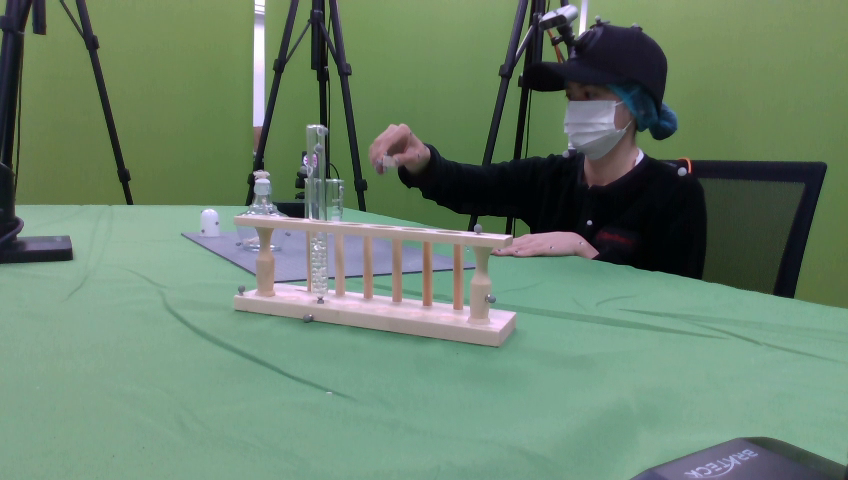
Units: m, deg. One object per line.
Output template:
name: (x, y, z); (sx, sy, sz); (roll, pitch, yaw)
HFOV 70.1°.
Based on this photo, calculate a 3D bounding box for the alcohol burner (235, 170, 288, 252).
alcohol burner: (-0.236, -0.042, 0.882); (0.078, 0.119, 0.078); (2, 9, 0)

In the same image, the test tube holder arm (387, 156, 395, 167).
test tube holder arm: (-0.051, -0.114, 0.882); (0.010, 0.015, 0.087); (12, 6, -8)

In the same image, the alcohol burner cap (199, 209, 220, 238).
alcohol burner cap: (-0.356, -0.027, 1.002); (0.034, 0.048, 0.034); (3, 7, 0)

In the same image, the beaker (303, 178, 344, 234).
beaker: (-0.189, -0.063, 1.119); (0.073, 0.100, 0.084); (6, 9, 28)

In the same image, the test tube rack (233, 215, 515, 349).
test tube rack: (-0.045, 0.029, 0.526); (0.242, 0.085, 0.067); (5, 8, 19)

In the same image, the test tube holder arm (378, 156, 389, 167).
test tube holder arm: (-0.062, -0.121, 0.925); (0.013, 0.015, 0.178); (12, 6, -9)

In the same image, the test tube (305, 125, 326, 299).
test tube: (-0.093, -0.023, 0.520); (0.017, 0.150, 0.017); (0, 7, 0)
